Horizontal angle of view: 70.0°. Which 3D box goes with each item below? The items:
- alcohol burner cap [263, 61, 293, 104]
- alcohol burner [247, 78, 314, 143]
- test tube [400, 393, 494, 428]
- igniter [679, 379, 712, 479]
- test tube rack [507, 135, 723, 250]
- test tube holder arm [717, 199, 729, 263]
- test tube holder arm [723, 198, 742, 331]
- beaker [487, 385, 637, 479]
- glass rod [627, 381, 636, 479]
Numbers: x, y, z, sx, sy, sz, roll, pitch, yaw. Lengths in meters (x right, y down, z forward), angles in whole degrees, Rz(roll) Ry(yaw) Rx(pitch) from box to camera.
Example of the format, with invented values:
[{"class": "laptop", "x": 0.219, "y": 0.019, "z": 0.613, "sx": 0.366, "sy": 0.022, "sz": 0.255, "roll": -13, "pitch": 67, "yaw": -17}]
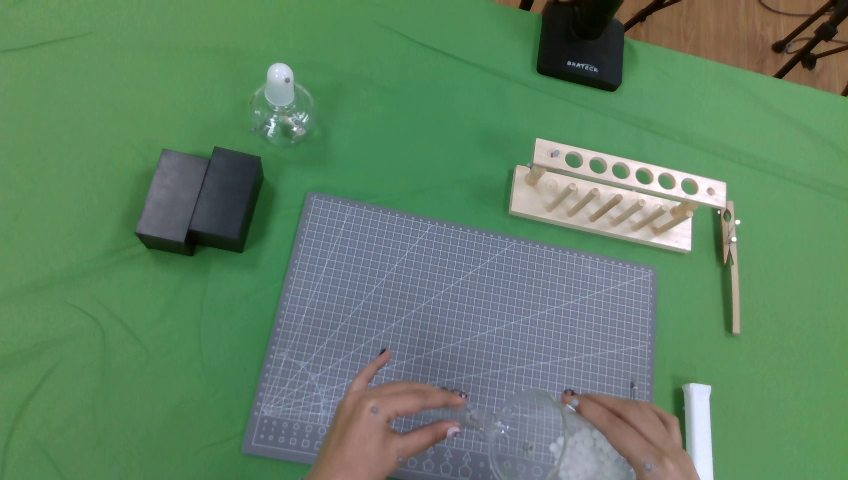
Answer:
[{"class": "alcohol burner cap", "x": -0.158, "y": -0.175, "z": 0.660, "sx": 0.034, "sy": 0.048, "sz": 0.033, "roll": 7, "pitch": 65, "yaw": -16}, {"class": "alcohol burner", "x": -0.165, "y": -0.162, "z": 0.693, "sx": 0.078, "sy": 0.119, "sz": 0.077, "roll": 3, "pitch": 69, "yaw": -8}, {"class": "test tube", "x": 0.016, "y": 0.151, "z": 0.544, "sx": 0.017, "sy": 0.150, "sz": 0.017, "roll": 4, "pitch": 80, "yaw": -28}, {"class": "igniter", "x": 0.310, "y": 0.298, "z": 0.684, "sx": 0.057, "sy": 0.025, "sz": 0.275, "roll": 12, "pitch": 70, "yaw": -17}, {"class": "test tube rack", "x": 0.235, "y": -0.055, "z": 0.752, "sx": 0.243, "sy": 0.085, "sz": 0.066, "roll": 12, "pitch": 70, "yaw": -7}, {"class": "test tube holder arm", "x": 0.399, "y": -0.012, "z": 0.807, "sx": 0.010, "sy": 0.015, "sz": 0.087, "roll": -6, "pitch": 70, "yaw": 25}, {"class": "test tube holder arm", "x": 0.402, "y": 0.030, "z": 0.791, "sx": 0.013, "sy": 0.015, "sz": 0.177, "roll": -7, "pitch": 70, "yaw": 25}, {"class": "beaker", "x": 0.108, "y": 0.163, "z": 0.471, "sx": 0.101, "sy": 0.083, "sz": 0.074, "roll": 30, "pitch": 77, "yaw": -31}, {"class": "glass rod", "x": 0.234, "y": 0.261, "z": 0.688, "sx": 0.008, "sy": 0.008, "sz": 0.198, "roll": 12, "pitch": 70, "yaw": -7}]
